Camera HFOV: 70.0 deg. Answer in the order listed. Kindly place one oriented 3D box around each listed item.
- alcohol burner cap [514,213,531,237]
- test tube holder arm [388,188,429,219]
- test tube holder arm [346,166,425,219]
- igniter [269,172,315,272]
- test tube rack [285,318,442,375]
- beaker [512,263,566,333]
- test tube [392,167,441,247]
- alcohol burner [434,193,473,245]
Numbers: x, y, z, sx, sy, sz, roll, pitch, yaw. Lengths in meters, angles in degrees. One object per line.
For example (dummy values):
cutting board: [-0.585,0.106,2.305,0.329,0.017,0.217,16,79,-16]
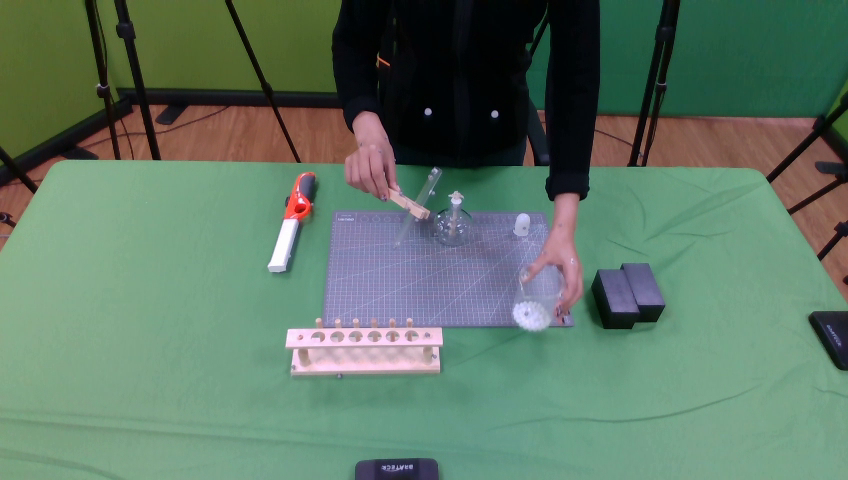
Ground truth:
alcohol burner cap: [0.200,-0.034,1.227,0.034,0.048,0.033,1,46,-1]
test tube holder arm: [-0.030,-0.060,0.991,0.087,0.015,0.010,32,13,22]
test tube holder arm: [-0.067,-0.082,1.006,0.177,0.015,0.013,34,14,29]
igniter: [-0.263,-0.045,1.219,0.057,0.025,0.275,-2,45,8]
test tube rack: [-0.095,0.168,0.986,0.242,0.085,0.066,0,46,-4]
beaker: [0.183,0.100,0.993,0.073,0.101,0.084,36,54,28]
test tube: [-0.013,-0.051,0.976,0.017,0.150,0.017,26,20,-10]
alcohol burner: [0.059,-0.046,1.180,0.078,0.120,0.077,2,48,-1]
